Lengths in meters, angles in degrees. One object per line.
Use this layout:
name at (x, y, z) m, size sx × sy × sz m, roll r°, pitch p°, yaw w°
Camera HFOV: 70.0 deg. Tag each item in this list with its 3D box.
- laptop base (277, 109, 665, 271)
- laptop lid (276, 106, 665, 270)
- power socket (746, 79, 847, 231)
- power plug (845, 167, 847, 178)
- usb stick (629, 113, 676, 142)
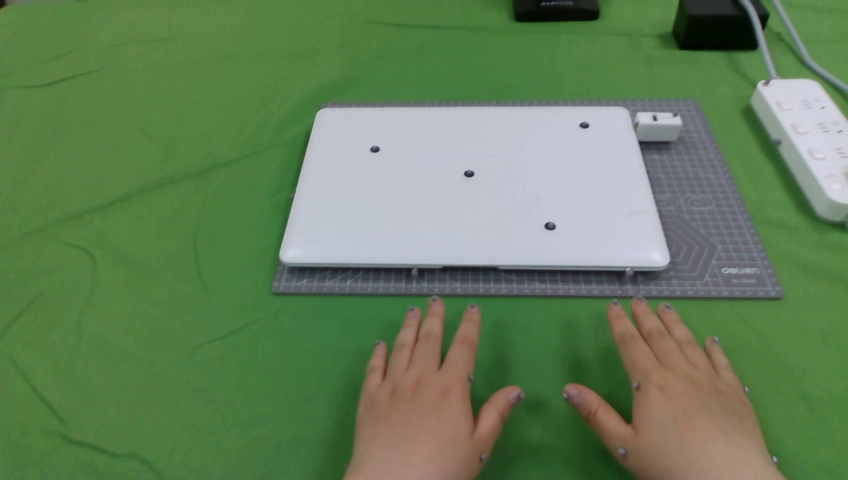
laptop base at (0.044, -0.056, 0.623) m, size 0.354 × 0.023 × 0.233 m, roll 0°, pitch 51°, yaw 3°
laptop lid at (0.043, -0.063, 0.612) m, size 0.356 × 0.013 × 0.239 m, roll 1°, pitch 49°, yaw 4°
power socket at (0.409, -0.100, 0.636) m, size 0.072 × 0.033 × 0.224 m, roll 0°, pitch 47°, yaw 1°
power plug at (0.438, -0.060, 0.570) m, size 0.072 × 0.053 × 0.035 m, roll 9°, pitch 49°, yaw 8°
usb stick at (0.240, -0.121, 0.658) m, size 0.059 × 0.027 × 0.021 m, roll -1°, pitch 46°, yaw 6°
